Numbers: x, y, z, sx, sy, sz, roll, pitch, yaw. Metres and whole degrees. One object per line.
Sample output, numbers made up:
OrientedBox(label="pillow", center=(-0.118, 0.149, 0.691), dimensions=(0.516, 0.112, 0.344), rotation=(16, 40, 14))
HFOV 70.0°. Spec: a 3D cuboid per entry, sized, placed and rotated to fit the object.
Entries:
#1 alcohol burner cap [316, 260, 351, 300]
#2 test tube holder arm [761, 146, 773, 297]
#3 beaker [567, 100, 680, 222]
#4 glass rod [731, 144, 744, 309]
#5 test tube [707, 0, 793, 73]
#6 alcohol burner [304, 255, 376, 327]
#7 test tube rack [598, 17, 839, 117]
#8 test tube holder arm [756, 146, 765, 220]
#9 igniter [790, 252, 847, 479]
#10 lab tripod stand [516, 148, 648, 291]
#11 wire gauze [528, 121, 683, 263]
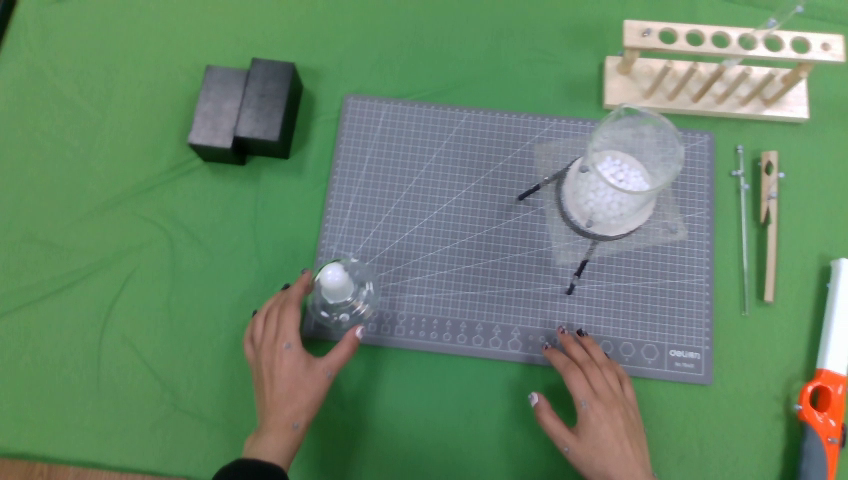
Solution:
OrientedBox(label="alcohol burner cap", center=(-0.090, 0.037, 0.594), dimensions=(0.034, 0.048, 0.033), rotation=(1, 66, -1))
OrientedBox(label="test tube holder arm", center=(0.393, -0.023, 0.693), dimensions=(0.013, 0.015, 0.177), rotation=(-2, 74, 34))
OrientedBox(label="beaker", center=(0.166, -0.063, 0.527), dimensions=(0.074, 0.101, 0.083), rotation=(-9, 75, 1))
OrientedBox(label="glass rod", center=(0.361, -0.019, 0.698), dimensions=(0.008, 0.008, 0.198), rotation=(5, 75, 2))
OrientedBox(label="test tube", center=(0.354, -0.226, 0.662), dimensions=(0.017, 0.151, 0.017), rotation=(1, 75, -5))
OrientedBox(label="alcohol burner", center=(-0.089, 0.049, 0.628), dimensions=(0.078, 0.120, 0.077), rotation=(0, 73, 1))
OrientedBox(label="test tube rack", center=(0.335, -0.199, 0.706), dimensions=(0.242, 0.085, 0.066), rotation=(4, 75, 2))
OrientedBox(label="test tube holder arm", center=(0.393, -0.066, 0.707), dimensions=(0.010, 0.015, 0.087), rotation=(-2, 74, 34))
OrientedBox(label="igniter", center=(0.429, 0.145, 0.646), dimensions=(0.057, 0.025, 0.275), rotation=(20, 76, -4))
OrientedBox(label="lab tripod stand", center=(0.164, -0.030, 0.636), dimensions=(0.148, 0.132, 0.147), rotation=(-1, 76, 3))
OrientedBox(label="wire gauze", center=(0.169, -0.048, 0.573), dimensions=(0.121, 0.011, 0.124), rotation=(-10, 77, 1))
